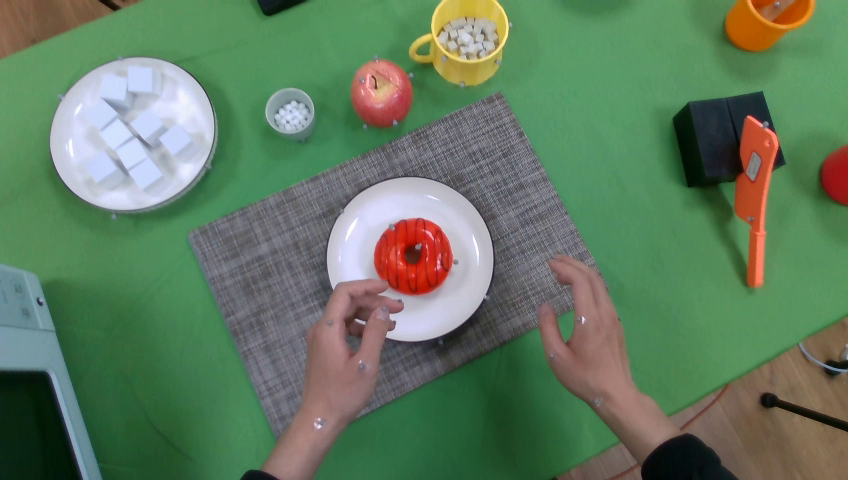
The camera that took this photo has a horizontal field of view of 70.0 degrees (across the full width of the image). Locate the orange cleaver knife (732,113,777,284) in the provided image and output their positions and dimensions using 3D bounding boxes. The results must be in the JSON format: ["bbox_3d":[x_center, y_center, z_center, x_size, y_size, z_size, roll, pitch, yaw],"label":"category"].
[{"bbox_3d":[0.406,-0.049,0.755,0.012,0.076,0.212,-7,111,-1],"label":"orange cleaver knife"}]

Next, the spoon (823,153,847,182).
[{"bbox_3d":[0.600,-0.086,0.738,0.192,0.022,0.041,9,69,46],"label":"spoon"}]

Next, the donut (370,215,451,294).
[{"bbox_3d":[-0.017,0.017,0.742,0.099,0.048,0.098,0,81,-2],"label":"donut"}]

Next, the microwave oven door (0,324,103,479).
[{"bbox_3d":[-0.384,0.247,0.580,0.039,0.244,0.354,-23,80,-6],"label":"microwave oven door"}]

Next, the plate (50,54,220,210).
[{"bbox_3d":[-0.364,-0.135,0.778,0.208,0.039,0.206,0,79,-1],"label":"plate"}]

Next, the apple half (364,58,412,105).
[{"bbox_3d":[-0.041,-0.209,0.782,0.081,0.081,0.033,37,84,6],"label":"apple half"}]

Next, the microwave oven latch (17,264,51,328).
[{"bbox_3d":[-0.471,0.069,0.716,0.030,0.029,0.079,-22,81,-6],"label":"microwave oven latch"}]

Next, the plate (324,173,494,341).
[{"bbox_3d":[-0.018,0.021,0.752,0.209,0.038,0.208,0,79,-1],"label":"plate"}]

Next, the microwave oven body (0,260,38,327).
[{"bbox_3d":[-0.535,0.265,0.578,0.326,0.261,0.440,-23,81,-6],"label":"microwave oven body"}]

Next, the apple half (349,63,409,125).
[{"bbox_3d":[-0.065,-0.178,0.777,0.081,0.075,0.053,38,84,2],"label":"apple half"}]

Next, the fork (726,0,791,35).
[{"bbox_3d":[0.498,-0.327,0.780,0.207,0.019,0.028,-26,74,38],"label":"fork"}]

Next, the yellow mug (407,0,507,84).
[{"bbox_3d":[0.041,-0.262,0.799,0.131,0.064,0.099,-15,79,-4],"label":"yellow mug"}]

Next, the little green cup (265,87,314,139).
[{"bbox_3d":[-0.172,-0.162,0.788,0.061,0.039,0.061,0,79,-1],"label":"little green cup"}]
